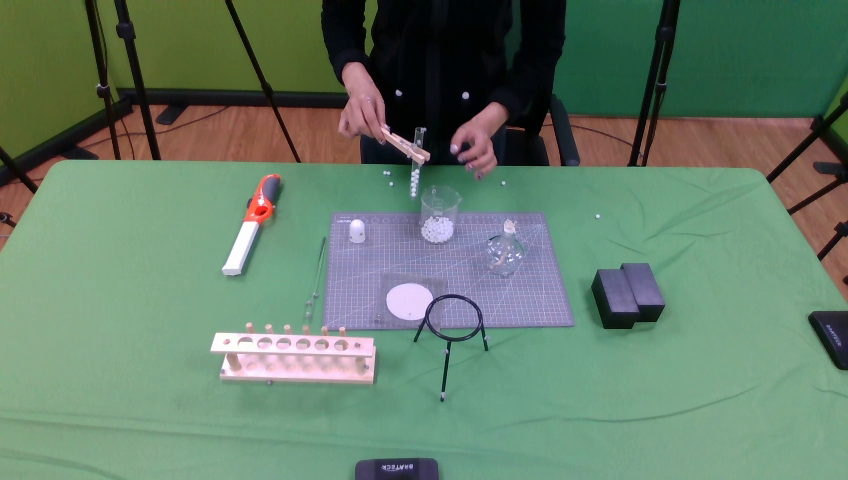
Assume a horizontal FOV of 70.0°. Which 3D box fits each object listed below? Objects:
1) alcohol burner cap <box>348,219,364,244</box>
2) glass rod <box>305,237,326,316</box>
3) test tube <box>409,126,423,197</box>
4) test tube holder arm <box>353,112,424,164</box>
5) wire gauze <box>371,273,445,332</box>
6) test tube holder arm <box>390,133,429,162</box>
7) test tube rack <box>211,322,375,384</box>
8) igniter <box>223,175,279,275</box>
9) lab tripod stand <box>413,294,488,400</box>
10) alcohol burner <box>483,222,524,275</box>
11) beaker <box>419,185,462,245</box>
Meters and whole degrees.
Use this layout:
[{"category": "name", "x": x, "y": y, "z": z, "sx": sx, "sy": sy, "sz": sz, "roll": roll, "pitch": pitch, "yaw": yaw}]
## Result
[{"category": "alcohol burner cap", "x": -0.134, "y": -0.019, "z": 1.190, "sx": 0.034, "sy": 0.048, "sz": 0.033, "roll": 2, "pitch": 46, "yaw": -2}, {"category": "glass rod", "x": -0.202, "y": 0.063, "z": 1.131, "sx": 0.008, "sy": 0.008, "sz": 0.198, "roll": 3, "pitch": 44, "yaw": 0}, {"category": "test tube", "x": -0.015, "y": -0.138, "z": 1.094, "sx": 0.017, "sy": 0.151, "sz": 0.017, "roll": 4, "pitch": 43, "yaw": -3}, {"category": "test tube holder arm", "x": -0.066, "y": -0.188, "z": 1.104, "sx": 0.177, "sy": 0.015, "sz": 0.013, "roll": 36, "pitch": 45, "yaw": 25}, {"category": "wire gauze", "x": -0.028, "y": 0.108, "z": 1.100, "sx": 0.125, "sy": 0.011, "sz": 0.121, "roll": 7, "pitch": 45, "yaw": 4}, {"category": "test tube holder arm", "x": -0.028, "y": -0.167, "z": 1.090, "sx": 0.087, "sy": 0.015, "sz": 0.010, "roll": 31, "pitch": 44, "yaw": 20}, {"category": "test tube rack", "x": -0.202, "y": 0.176, "z": 0.969, "sx": 0.242, "sy": 0.085, "sz": 0.066, "roll": 3, "pitch": 46, "yaw": -2}, {"category": "igniter", "x": -0.341, "y": -0.039, "z": 1.207, "sx": 0.057, "sy": 0.025, "sz": 0.275, "roll": -1, "pitch": 45, "yaw": 8}, {"category": "lab tripod stand", "x": 0.044, "y": 0.159, "z": 0.972, "sx": 0.148, "sy": 0.132, "sz": 0.147, "roll": 2, "pitch": 44, "yaw": -2}, {"category": "alcohol burner", "x": 0.152, "y": 0.009, "z": 1.136, "sx": 0.078, "sy": 0.119, "sz": 0.077, "roll": 4, "pitch": 46, "yaw": -4}, {"category": "beaker", "x": 0.029, "y": -0.047, "z": 1.191, "sx": 0.084, "sy": 0.101, "sz": 0.073, "roll": -5, "pitch": 47, "yaw": -10}]
